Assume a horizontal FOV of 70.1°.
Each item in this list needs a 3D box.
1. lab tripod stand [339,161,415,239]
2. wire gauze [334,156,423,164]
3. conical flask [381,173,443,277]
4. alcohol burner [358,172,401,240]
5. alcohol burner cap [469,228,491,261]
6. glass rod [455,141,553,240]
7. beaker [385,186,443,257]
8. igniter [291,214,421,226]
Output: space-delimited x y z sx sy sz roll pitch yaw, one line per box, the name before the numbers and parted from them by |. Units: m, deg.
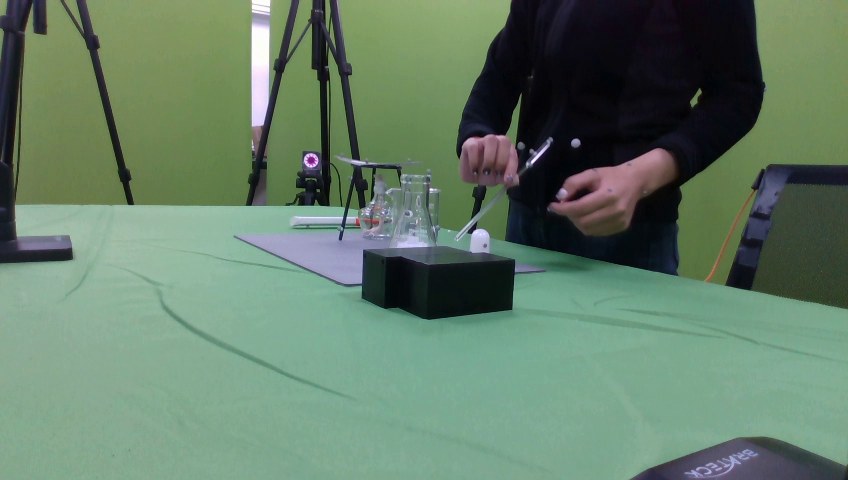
lab tripod stand | -0.082 -0.070 1.059 0.148 0.131 0.148 4 6 0
wire gauze | -0.081 -0.137 1.051 0.122 0.011 0.124 0 8 -30
conical flask | -0.012 -0.020 0.731 0.075 0.122 0.075 2 7 0
alcohol burner | -0.077 -0.061 1.065 0.078 0.119 0.078 4 9 0
alcohol burner cap | 0.082 0.006 0.878 0.034 0.048 0.034 3 7 0
glass rod | 0.110 -0.070 0.820 0.200 0.008 0.008 -45 24 -14
beaker | -0.015 -0.028 0.886 0.084 0.100 0.074 0 7 -9
igniter | -0.135 -0.041 1.250 0.278 0.025 0.057 -1 -3 -28
